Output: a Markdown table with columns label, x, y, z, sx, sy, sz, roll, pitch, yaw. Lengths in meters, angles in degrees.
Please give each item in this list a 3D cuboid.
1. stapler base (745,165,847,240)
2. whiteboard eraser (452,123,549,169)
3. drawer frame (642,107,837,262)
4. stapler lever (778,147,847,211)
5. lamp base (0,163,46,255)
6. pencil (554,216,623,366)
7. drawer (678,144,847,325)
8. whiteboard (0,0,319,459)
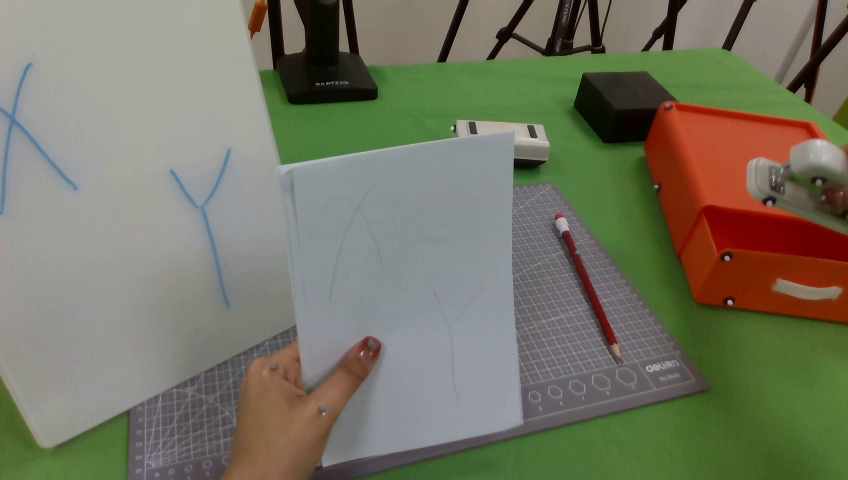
| label | x | y | z | sx | sy | sz | roll | pitch | yaw |
| --- | --- | --- | --- | --- | --- | --- | --- | --- | --- |
| stapler base | 0.337 | -0.033 | 0.517 | 0.131 | 0.024 | 0.041 | 18 | 67 | -10 |
| whiteboard eraser | 0.092 | -0.113 | 0.735 | 0.113 | 0.042 | 0.055 | 3 | 42 | -6 |
| drawer frame | 0.371 | -0.056 | 0.684 | 0.202 | 0.083 | 0.211 | 7 | 40 | 0 |
| stapler lever | 0.346 | -0.042 | 0.494 | 0.118 | 0.040 | 0.026 | 18 | 67 | -11 |
| lamp base | -0.441 | -0.084 | 0.505 | 0.178 | 0.182 | 0.160 | 18 | 42 | 15 |
| pencil | 0.158 | 0.043 | 0.588 | 0.012 | 0.012 | 0.192 | -1 | 43 | -10 |
| drawer | 0.365 | -0.014 | 0.638 | 0.194 | 0.074 | 0.210 | 7 | 40 | 0 |
| whiteboard | -0.233 | -0.046 | 0.445 | 0.217 | 0.308 | 0.142 | -25 | 31 | -32 |
